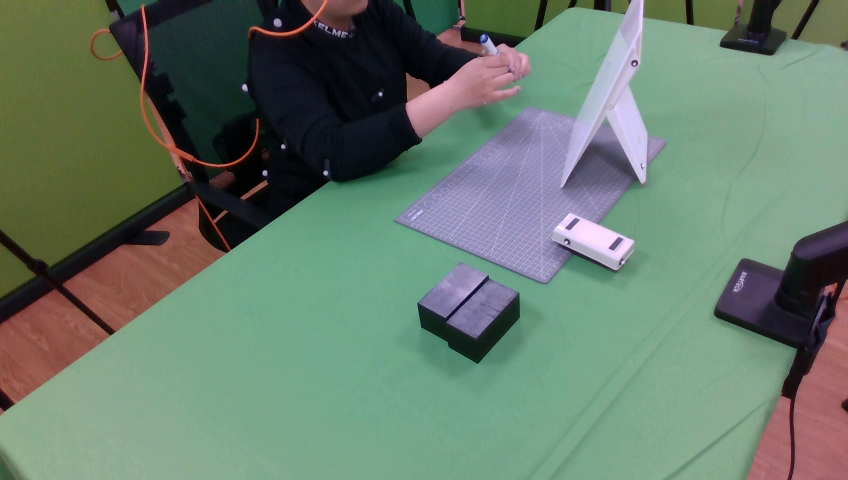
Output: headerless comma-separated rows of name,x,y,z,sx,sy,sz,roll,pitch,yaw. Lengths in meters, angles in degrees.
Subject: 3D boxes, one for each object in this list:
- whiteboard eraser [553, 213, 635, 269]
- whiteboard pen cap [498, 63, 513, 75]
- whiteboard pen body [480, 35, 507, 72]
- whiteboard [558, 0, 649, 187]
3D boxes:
whiteboard eraser,0.257,0.003,0.918,0.112,0.042,0.056,27,50,30
whiteboard pen cap,0.154,-0.324,1.151,0.018,0.018,0.033,-26,11,-20
whiteboard pen body,0.129,-0.330,1.090,0.017,0.142,0.017,-5,78,24
whiteboard,0.361,-0.238,1.026,0.144,0.306,0.217,21,44,3
